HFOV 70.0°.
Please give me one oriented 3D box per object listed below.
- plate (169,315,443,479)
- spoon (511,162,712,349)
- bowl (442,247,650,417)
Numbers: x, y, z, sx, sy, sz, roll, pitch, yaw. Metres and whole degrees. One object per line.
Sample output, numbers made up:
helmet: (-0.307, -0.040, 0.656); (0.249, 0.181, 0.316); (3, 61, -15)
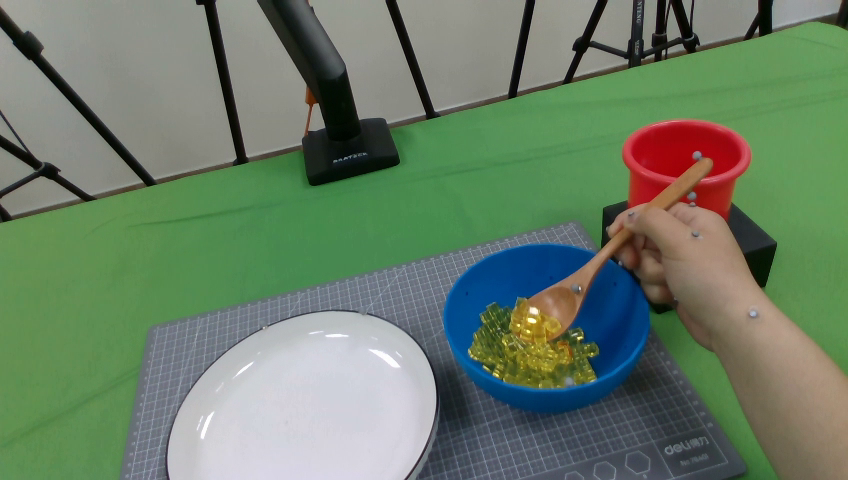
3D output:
plate: (-0.086, 0.145, 0.470); (0.207, 0.039, 0.205); (-6, 39, 6)
spoon: (0.140, 0.010, 0.444); (0.194, 0.022, 0.041); (-45, 43, 3)
bowl: (0.093, 0.083, 0.471); (0.151, 0.077, 0.150); (-6, 39, 6)
